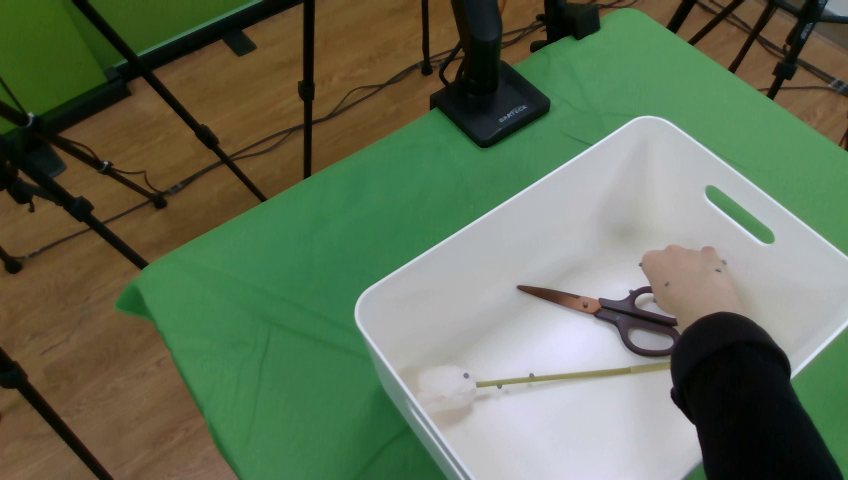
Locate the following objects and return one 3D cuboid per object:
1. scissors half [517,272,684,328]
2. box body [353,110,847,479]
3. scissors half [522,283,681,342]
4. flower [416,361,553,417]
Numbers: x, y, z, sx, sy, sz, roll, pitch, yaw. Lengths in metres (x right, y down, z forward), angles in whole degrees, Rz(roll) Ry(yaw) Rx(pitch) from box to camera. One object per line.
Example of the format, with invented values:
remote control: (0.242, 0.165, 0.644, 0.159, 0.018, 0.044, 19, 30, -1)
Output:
scissors half: (0.182, 0.056, 0.639, 0.174, 0.040, 0.013, 11, 23, 22)
box body: (0.153, 0.082, 0.554, 0.364, 0.162, 0.252, -33, 62, -18)
scissors half: (0.180, 0.072, 0.645, 0.174, 0.040, 0.013, 17, 19, 21)
flower: (0.159, 0.122, 0.632, 0.363, 0.044, 0.038, -8, 29, -28)
